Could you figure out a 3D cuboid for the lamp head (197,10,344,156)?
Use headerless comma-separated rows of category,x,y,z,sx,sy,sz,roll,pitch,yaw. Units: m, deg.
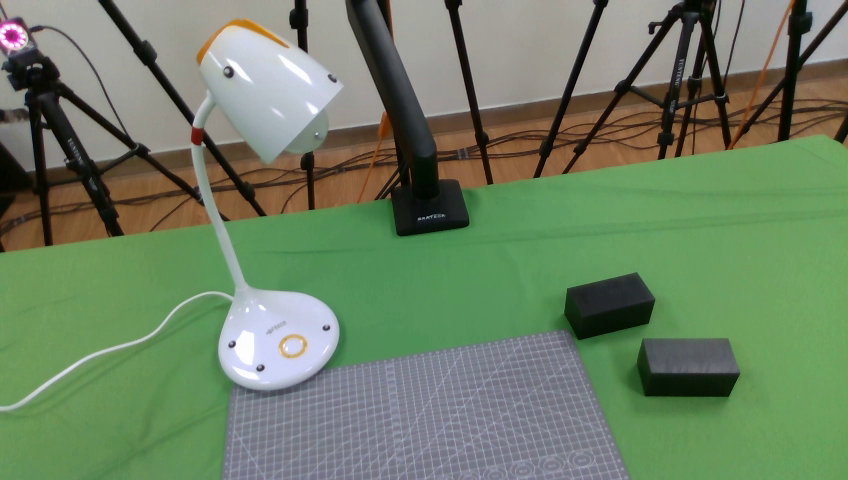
lamp head,-0.159,-0.158,0.592,0.123,0.112,0.112,39,48,-14

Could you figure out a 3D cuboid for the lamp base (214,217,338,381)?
lamp base,-0.212,0.063,0.775,0.177,0.182,0.160,24,50,31
